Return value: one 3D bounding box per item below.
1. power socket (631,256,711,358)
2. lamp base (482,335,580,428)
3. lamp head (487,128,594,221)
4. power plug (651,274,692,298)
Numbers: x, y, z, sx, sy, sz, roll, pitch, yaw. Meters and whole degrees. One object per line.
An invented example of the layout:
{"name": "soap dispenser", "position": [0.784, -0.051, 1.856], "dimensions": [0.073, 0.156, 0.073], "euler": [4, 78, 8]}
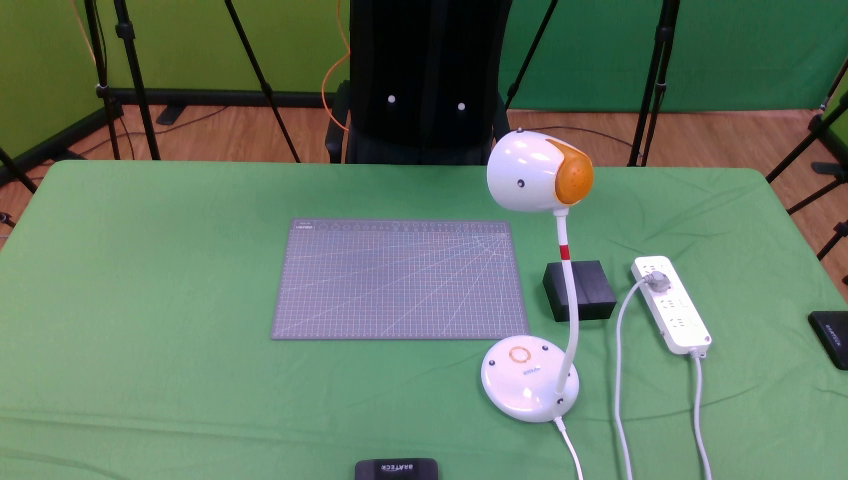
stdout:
{"name": "power socket", "position": [0.449, 0.115, 1.112], "dimensions": [0.072, 0.033, 0.225], "euler": [-4, 47, -6]}
{"name": "lamp base", "position": [0.184, 0.177, 0.928], "dimensions": [0.161, 0.181, 0.178], "euler": [-22, 53, -23]}
{"name": "lamp head", "position": [0.160, -0.084, 0.791], "dimensions": [0.112, 0.113, 0.122], "euler": [-24, 28, -25]}
{"name": "power plug", "position": [0.445, 0.093, 1.102], "dimensions": [0.035, 0.053, 0.072], "euler": [-24, 56, -6]}
